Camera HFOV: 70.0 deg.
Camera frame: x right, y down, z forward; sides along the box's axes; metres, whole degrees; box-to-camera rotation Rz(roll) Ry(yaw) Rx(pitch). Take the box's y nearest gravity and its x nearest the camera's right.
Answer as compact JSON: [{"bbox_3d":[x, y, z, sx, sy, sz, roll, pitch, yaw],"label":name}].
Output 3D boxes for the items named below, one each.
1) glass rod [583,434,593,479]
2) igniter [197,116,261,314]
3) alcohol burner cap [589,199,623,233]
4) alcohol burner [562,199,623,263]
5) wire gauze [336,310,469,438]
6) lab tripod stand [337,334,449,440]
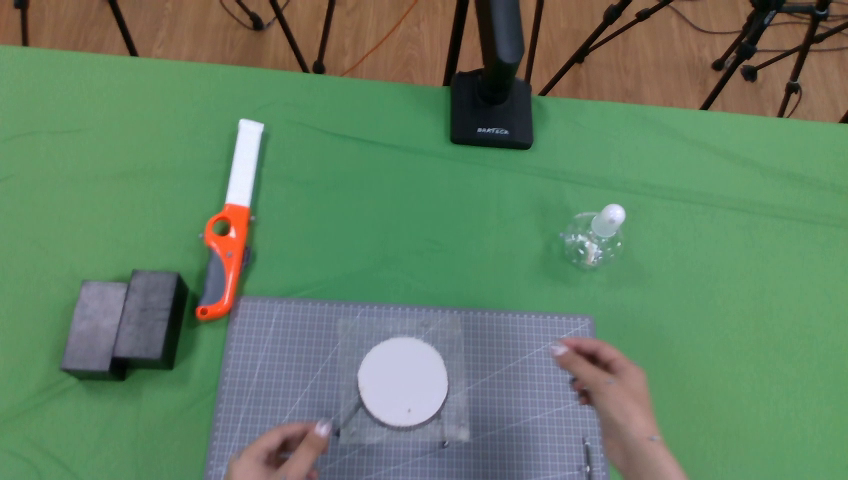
[{"bbox_3d":[0.188,0.317,0.670,0.008,0.008,0.198,3,65,-6],"label":"glass rod"},{"bbox_3d":[-0.242,-0.037,0.764,0.057,0.025,0.274,11,64,-19],"label":"igniter"},{"bbox_3d":[0.225,-0.032,0.736,0.034,0.048,0.033,1,70,-4],"label":"alcohol burner cap"},{"bbox_3d":[0.220,-0.017,0.769,0.078,0.120,0.077,3,64,-6],"label":"alcohol burner"},{"bbox_3d":[-0.022,0.126,0.584,0.125,0.011,0.120,0,65,-8],"label":"wire gauze"},{"bbox_3d":[-0.028,0.157,0.644,0.148,0.132,0.147,2,64,-4],"label":"lab tripod stand"}]
